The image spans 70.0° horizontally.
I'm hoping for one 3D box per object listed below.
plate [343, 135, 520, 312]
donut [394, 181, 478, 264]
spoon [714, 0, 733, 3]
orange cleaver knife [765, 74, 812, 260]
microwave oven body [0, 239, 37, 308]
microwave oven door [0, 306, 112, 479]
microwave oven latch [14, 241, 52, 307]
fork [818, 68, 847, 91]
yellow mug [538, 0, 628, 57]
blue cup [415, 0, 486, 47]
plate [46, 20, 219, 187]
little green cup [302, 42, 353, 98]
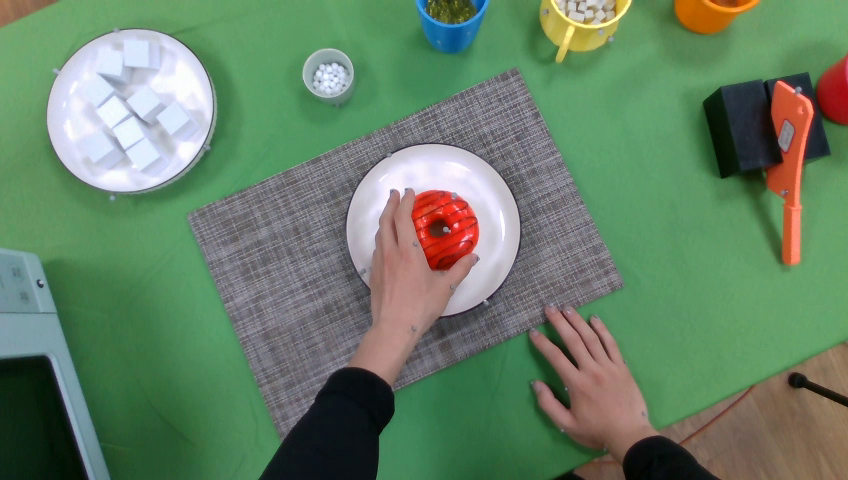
[{"bbox_3d":[0.009,-0.019,0.720,0.209,0.038,0.208,0,85,2],"label":"plate"},{"bbox_3d":[0.013,-0.020,0.709,0.099,0.048,0.099,0,85,3],"label":"donut"},{"bbox_3d":[0.313,-0.290,0.687,0.021,0.194,0.041,-33,81,43],"label":"spoon"},{"bbox_3d":[0.414,-0.081,0.697,0.012,0.076,0.213,-9,114,3],"label":"orange cleaver knife"},{"bbox_3d":[-0.544,0.249,0.597,0.326,0.260,0.440,-21,85,-1],"label":"microwave oven body"},{"bbox_3d":[-0.393,0.235,0.589,0.039,0.244,0.354,-22,84,-1],"label":"microwave oven door"},{"bbox_3d":[-0.468,0.042,0.711,0.030,0.029,0.079,-20,85,-1],"label":"microwave oven latch"},{"bbox_3d":[0.560,-0.192,0.672,0.206,0.019,0.028,0,80,43],"label":"fork"},{"bbox_3d":[0.186,-0.281,0.730,0.100,0.064,0.130,24,86,4],"label":"yellow mug"},{"bbox_3d":[0.030,-0.277,0.716,0.092,0.100,0.092,0,85,0],"label":"blue cup"},{"bbox_3d":[-0.353,-0.165,0.747,0.207,0.039,0.207,0,84,1],"label":"plate"},{"bbox_3d":[-0.116,-0.206,0.745,0.061,0.039,0.061,0,84,2],"label":"little green cup"}]
